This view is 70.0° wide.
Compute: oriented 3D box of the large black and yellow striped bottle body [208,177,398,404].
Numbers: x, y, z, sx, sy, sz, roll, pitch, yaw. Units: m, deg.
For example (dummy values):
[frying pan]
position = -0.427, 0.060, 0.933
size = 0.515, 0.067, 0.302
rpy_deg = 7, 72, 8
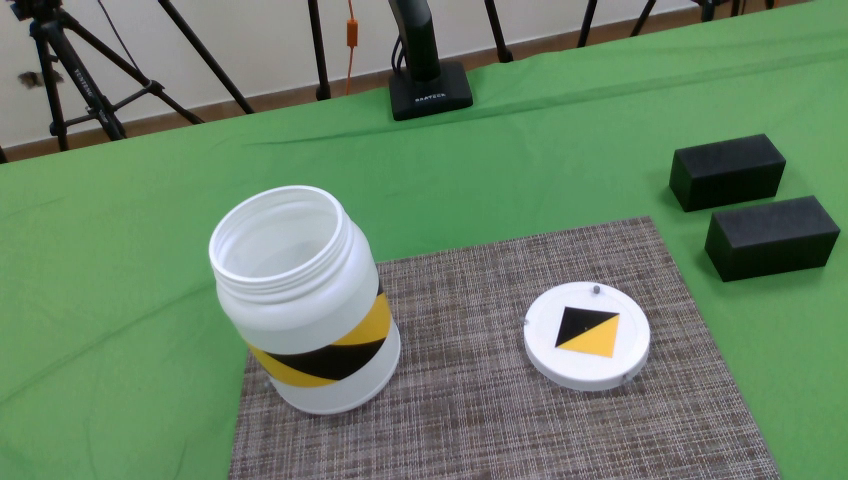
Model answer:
[large black and yellow striped bottle body]
position = -0.103, 0.047, 0.540
size = 0.130, 0.186, 0.129
rpy_deg = -6, 46, 7

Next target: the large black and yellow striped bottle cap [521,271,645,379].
[large black and yellow striped bottle cap]
position = 0.150, 0.078, 0.574
size = 0.115, 0.019, 0.114
rpy_deg = -6, 47, 7
